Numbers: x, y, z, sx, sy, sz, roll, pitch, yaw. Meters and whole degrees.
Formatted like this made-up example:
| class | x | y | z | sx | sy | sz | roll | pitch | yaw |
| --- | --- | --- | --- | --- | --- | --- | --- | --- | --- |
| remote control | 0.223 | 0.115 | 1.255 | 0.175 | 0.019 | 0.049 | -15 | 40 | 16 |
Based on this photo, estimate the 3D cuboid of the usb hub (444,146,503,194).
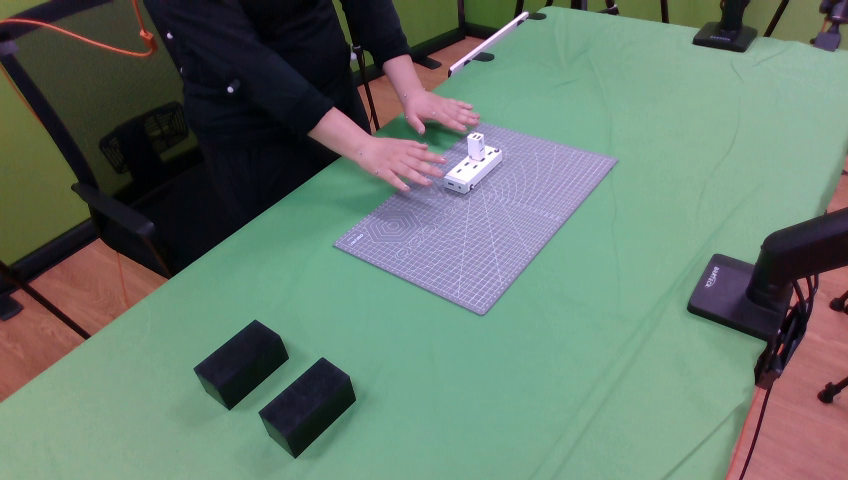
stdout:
| class | x | y | z | sx | sy | sz | roll | pitch | yaw |
| --- | --- | --- | --- | --- | --- | --- | --- | --- | --- |
| usb hub | 0.091 | -0.129 | 1.102 | 0.049 | 0.025 | 0.125 | 23 | 49 | 30 |

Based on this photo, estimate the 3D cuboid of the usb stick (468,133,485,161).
| class | x | y | z | sx | sy | sz | roll | pitch | yaw |
| --- | --- | --- | --- | --- | --- | --- | --- | --- | --- |
| usb stick | 0.095 | -0.162 | 1.096 | 0.027 | 0.059 | 0.021 | 21 | 48 | 26 |
